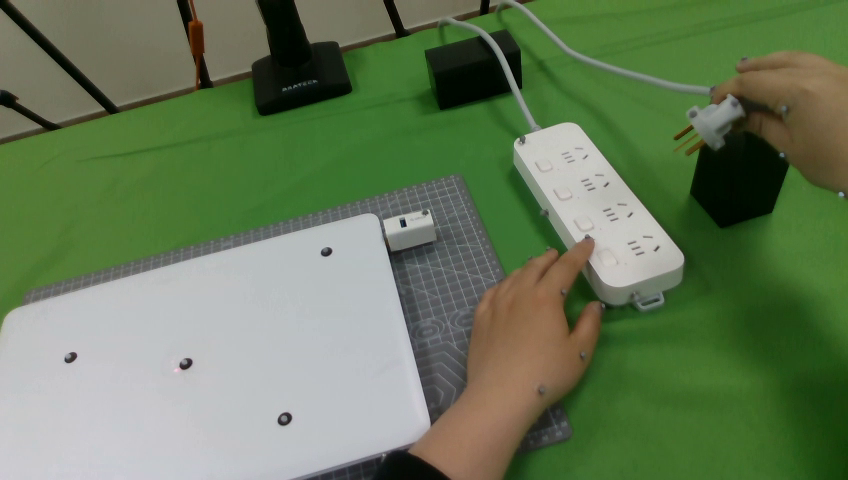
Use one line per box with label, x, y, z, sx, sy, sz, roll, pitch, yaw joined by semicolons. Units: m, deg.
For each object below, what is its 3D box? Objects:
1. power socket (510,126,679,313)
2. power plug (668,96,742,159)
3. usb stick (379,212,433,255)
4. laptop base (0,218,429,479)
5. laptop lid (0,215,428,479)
power socket;0.146;-0.030;0.550;0.072;0.033;0.224;-17;47;-6
power plug;0.209;-0.079;0.448;0.073;0.053;0.035;-4;60;-53
usb stick;-0.023;-0.004;0.553;0.059;0.027;0.021;-16;46;0
laptop base;-0.189;0.110;0.497;0.354;0.023;0.233;-16;50;-3
laptop lid;-0.191;0.104;0.486;0.357;0.013;0.239;-14;49;-2
